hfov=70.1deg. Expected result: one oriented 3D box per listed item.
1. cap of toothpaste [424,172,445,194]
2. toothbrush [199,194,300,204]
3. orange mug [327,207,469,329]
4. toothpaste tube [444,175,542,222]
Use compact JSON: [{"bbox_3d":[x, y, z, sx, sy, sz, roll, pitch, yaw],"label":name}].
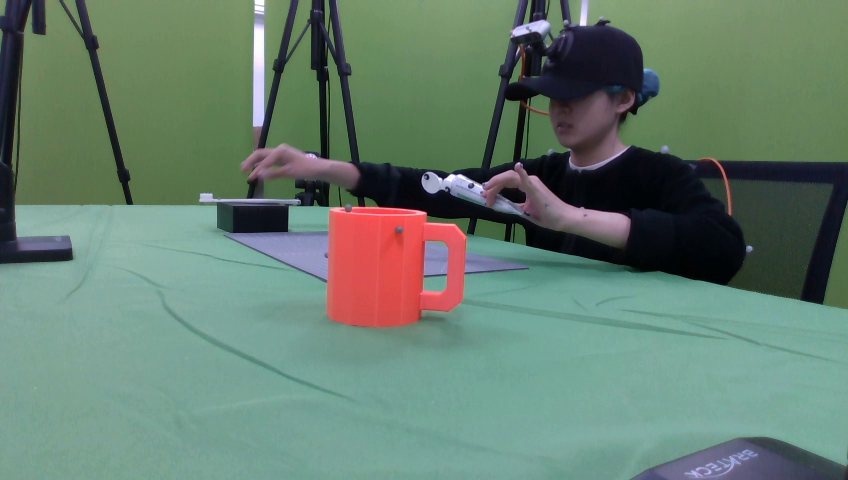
[{"bbox_3d":[0.017,-0.089,0.937,0.037,0.037,0.011,8,28,34],"label":"cap of toothpaste"},{"bbox_3d":[-0.322,-0.076,1.129,0.183,0.016,0.014,0,5,-24],"label":"toothbrush"},{"bbox_3d":[-0.024,0.021,0.535,0.126,0.100,0.083,-1,6,8],"label":"orange mug"},{"bbox_3d":[0.096,-0.062,0.902,0.164,0.034,0.055,27,15,32],"label":"toothpaste tube"}]
